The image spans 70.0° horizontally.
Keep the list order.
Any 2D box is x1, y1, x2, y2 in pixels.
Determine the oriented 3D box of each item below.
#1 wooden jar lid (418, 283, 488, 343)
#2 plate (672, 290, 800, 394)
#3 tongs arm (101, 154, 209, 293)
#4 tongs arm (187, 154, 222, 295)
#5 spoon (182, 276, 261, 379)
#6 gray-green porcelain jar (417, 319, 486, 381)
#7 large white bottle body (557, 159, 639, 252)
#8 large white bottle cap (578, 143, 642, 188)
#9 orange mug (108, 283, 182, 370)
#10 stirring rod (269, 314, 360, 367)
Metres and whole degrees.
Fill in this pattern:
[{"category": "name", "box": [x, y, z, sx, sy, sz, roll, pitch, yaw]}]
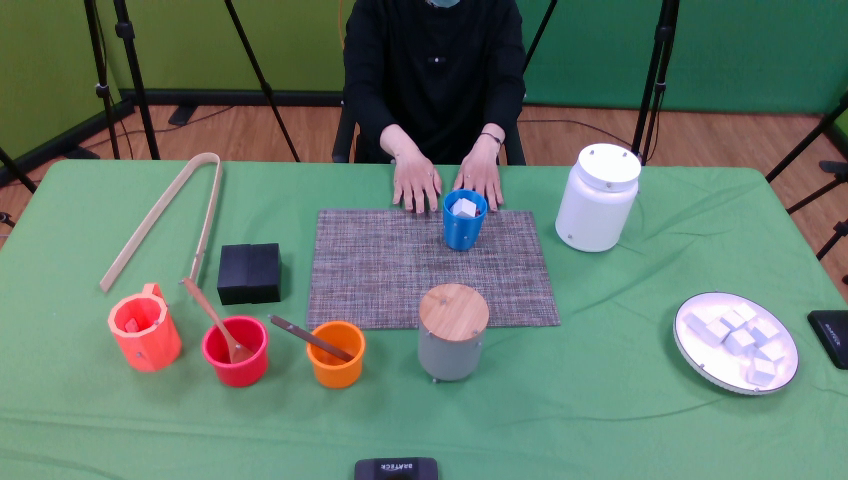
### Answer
[{"category": "wooden jar lid", "box": [0.044, 0.114, 0.931, 0.108, 0.021, 0.107, 2, 49, -2]}, {"category": "plate", "box": [0.533, 0.178, 1.050, 0.208, 0.039, 0.206, 2, 46, -2]}, {"category": "tongs arm", "box": [-0.526, -0.047, 1.202, 0.028, 0.028, 0.385, 4, 45, 12]}, {"category": "tongs arm", "box": [-0.443, -0.044, 1.200, 0.051, 0.027, 0.382, -3, 45, 0]}, {"category": "spoon", "box": [-0.321, 0.137, 0.957, 0.041, 0.021, 0.194, -36, 102, -32]}, {"category": "gray-green porcelain jar", "box": [0.042, 0.158, 0.975, 0.106, 0.127, 0.105, 2, 46, -2]}, {"category": "large white bottle body", "box": [0.340, -0.081, 1.185, 0.131, 0.185, 0.130, 2, 46, -2]}, {"category": "large white bottle cap", "box": [0.344, -0.139, 1.123, 0.115, 0.018, 0.114, 2, 46, -2]}, {"category": "orange mug", "box": [-0.446, 0.133, 0.983, 0.083, 0.101, 0.125, -1, 50, -5]}, {"category": "stirring rod", "box": [-0.168, 0.160, 0.950, 0.177, 0.006, 0.014, 35, 41, -31]}]
